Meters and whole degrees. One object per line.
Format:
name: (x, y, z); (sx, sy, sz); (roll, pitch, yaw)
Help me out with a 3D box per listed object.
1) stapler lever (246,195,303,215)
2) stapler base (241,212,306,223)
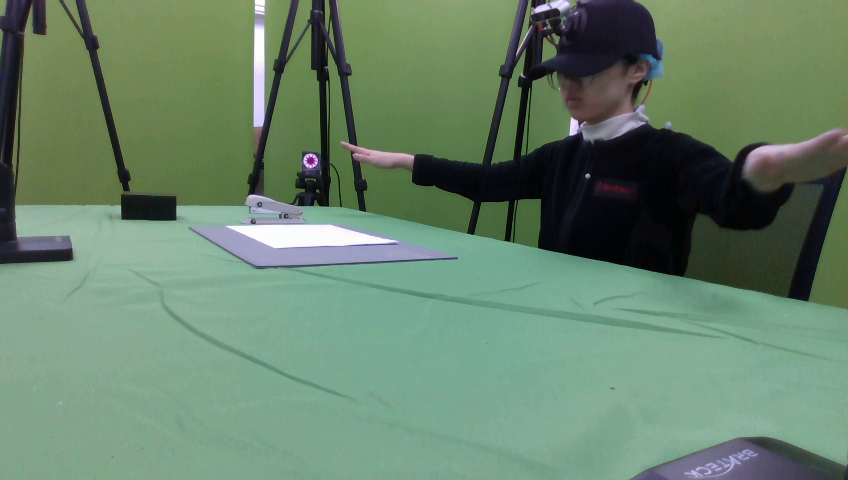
stapler lever: (-0.314, -0.074, 1.270); (0.119, 0.040, 0.026); (0, 10, -31)
stapler base: (-0.316, -0.048, 1.272); (0.131, 0.024, 0.041); (0, 10, -31)
